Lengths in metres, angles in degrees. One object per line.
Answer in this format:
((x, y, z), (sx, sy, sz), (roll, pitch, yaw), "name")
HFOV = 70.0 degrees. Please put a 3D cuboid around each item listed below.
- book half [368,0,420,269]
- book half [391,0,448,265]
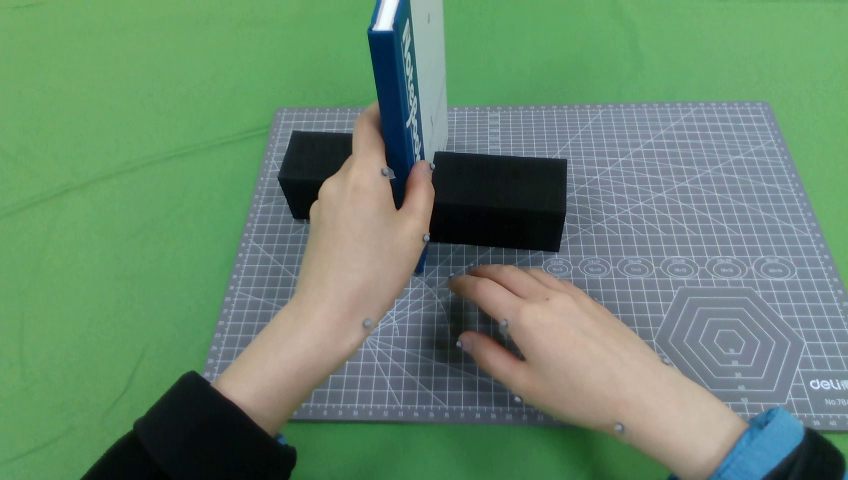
((-0.006, -0.096, 0.414), (0.016, 0.212, 0.147), (4, 55, 7), "book half")
((0.002, -0.098, 0.415), (0.007, 0.212, 0.142), (5, 55, 8), "book half")
